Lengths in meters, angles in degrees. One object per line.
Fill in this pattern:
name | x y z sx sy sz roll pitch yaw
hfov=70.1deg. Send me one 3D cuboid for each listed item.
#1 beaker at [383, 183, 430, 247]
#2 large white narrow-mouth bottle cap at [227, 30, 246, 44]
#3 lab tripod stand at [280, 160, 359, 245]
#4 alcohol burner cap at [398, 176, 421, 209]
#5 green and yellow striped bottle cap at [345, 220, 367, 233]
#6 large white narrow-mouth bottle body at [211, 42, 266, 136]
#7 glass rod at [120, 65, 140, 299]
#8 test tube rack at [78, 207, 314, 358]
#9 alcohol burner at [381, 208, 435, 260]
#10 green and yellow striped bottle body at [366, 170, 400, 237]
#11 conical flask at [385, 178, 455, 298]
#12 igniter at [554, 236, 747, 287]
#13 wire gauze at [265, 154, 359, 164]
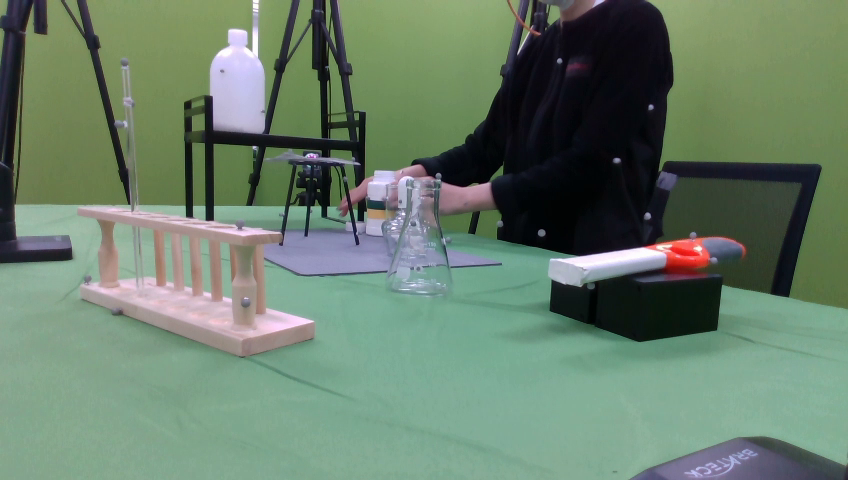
beaker | -0.027 -0.041 0.996 0.074 0.100 0.083 -5 11 -43
large white narrow-mouth bottle cap | -0.361 -0.389 1.165 0.038 0.024 0.037 1 7 0
lab tripod stand | -0.176 -0.062 0.973 0.148 0.131 0.148 1 7 0
alcohol burner cap | -0.023 -0.068 0.866 0.034 0.048 0.034 -5 8 1
green and yellow striped bottle cap | -0.130 -0.026 1.168 0.045 0.020 0.045 3 10 0
large white narrow-mouth bottle body | -0.361 -0.302 1.176 0.102 0.194 0.102 1 7 0
glass rod | -0.249 -0.047 0.513 0.008 0.199 0.008 -1 4 0
test tube rack | -0.196 0.023 0.499 0.241 0.085 0.067 8 8 37
alcohol burner | -0.023 -0.032 0.871 0.078 0.119 0.078 0 6 0
green and yellow striped bottle body | -0.073 -0.068 1.109 0.063 0.119 0.063 3 7 0
conical flask | -0.002 -0.004 0.639 0.075 0.122 0.075 2 7 0
igniter | 0.221 0.017 0.558 0.278 0.025 0.057 -5 15 -39
wire gauze | -0.181 -0.129 0.969 0.126 0.011 0.121 -1 7 -27
